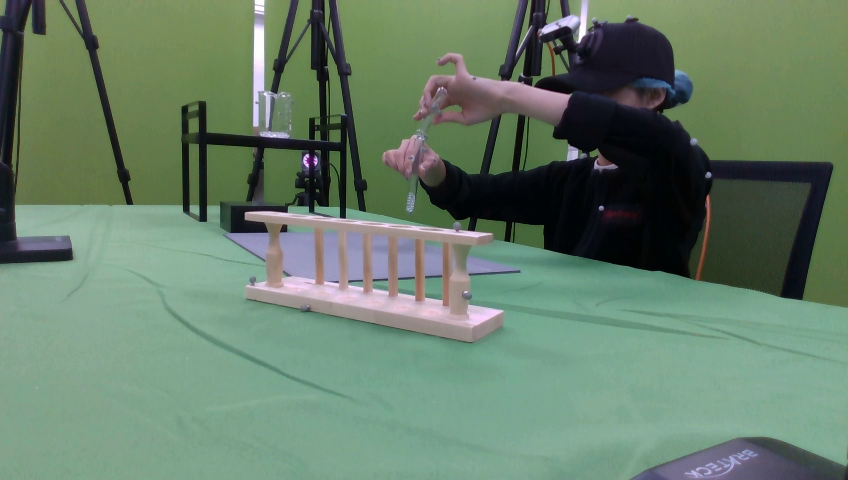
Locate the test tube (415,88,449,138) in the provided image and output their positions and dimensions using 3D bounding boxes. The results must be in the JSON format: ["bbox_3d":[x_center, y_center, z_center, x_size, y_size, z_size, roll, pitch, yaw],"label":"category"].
[{"bbox_3d":[0.011,-0.185,0.889,0.017,0.017,0.150,1,-13,-14],"label":"test tube"}]

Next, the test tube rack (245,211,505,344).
[{"bbox_3d":[-0.049,0.025,0.547,0.241,0.085,0.067,7,8,28],"label":"test tube rack"}]

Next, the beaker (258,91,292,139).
[{"bbox_3d":[-0.331,-0.276,1.343,0.074,0.100,0.083,0,8,-20],"label":"beaker"}]

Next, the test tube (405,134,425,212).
[{"bbox_3d":[-0.016,-0.107,1.002,0.017,0.150,0.017,6,39,-5],"label":"test tube"}]
